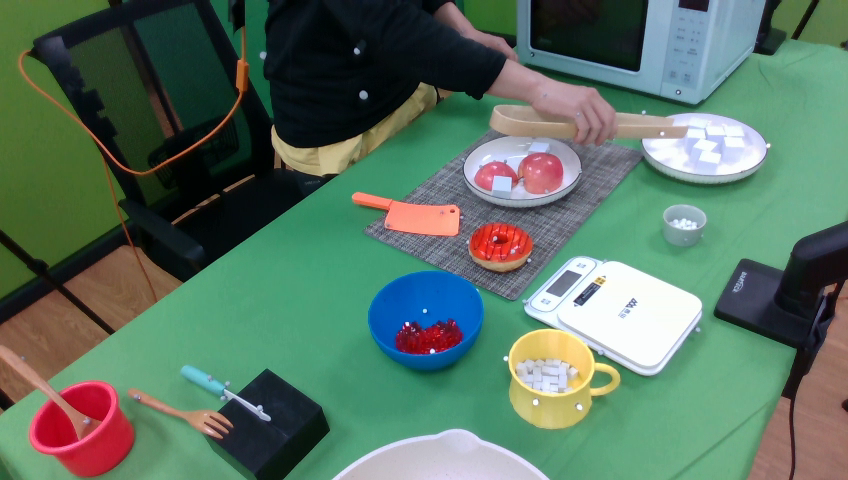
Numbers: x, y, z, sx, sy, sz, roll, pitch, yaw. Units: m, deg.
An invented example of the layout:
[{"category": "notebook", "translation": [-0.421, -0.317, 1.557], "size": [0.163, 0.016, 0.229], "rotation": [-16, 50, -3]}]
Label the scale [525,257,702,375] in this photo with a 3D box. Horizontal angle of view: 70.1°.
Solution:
[{"category": "scale", "translation": [0.254, 0.091, 0.821], "size": [0.199, 0.032, 0.149], "rotation": [28, 51, 35]}]

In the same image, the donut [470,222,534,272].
[{"category": "donut", "translation": [0.118, 0.009, 0.923], "size": [0.099, 0.048, 0.098], "rotation": [-3, 38, 3]}]

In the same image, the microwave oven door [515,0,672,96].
[{"category": "microwave oven door", "translation": [0.344, -0.455, 1.259], "size": [0.353, 0.245, 0.039], "rotation": [26, 51, 33]}]

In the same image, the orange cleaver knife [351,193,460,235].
[{"category": "orange cleaver knife", "translation": [-0.036, -0.044, 1.029], "size": [0.210, 0.012, 0.077], "rotation": [10, 48, 18]}]

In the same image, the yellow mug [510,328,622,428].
[{"category": "yellow mug", "translation": [0.169, 0.164, 0.722], "size": [0.130, 0.064, 0.099], "rotation": [0, 40, 8]}]

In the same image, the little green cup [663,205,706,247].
[{"category": "little green cup", "translation": [0.396, -0.020, 0.926], "size": [0.061, 0.039, 0.061], "rotation": [-4, 40, 4]}]

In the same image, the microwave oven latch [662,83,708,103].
[{"category": "microwave oven latch", "translation": [0.518, -0.296, 1.204], "size": [0.078, 0.029, 0.030], "rotation": [28, 52, 35]}]

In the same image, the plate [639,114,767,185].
[{"category": "plate", "translation": [0.489, -0.157, 1.074], "size": [0.207, 0.039, 0.206], "rotation": [-4, 40, 4]}]

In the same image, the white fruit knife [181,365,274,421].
[{"category": "white fruit knife", "translation": [-0.245, 0.187, 0.747], "size": [0.205, 0.027, 0.016], "rotation": [9, 41, 40]}]

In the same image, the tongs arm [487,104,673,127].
[{"category": "tongs arm", "translation": [0.272, -0.193, 0.994], "size": [0.387, 0.026, 0.050], "rotation": [0, 38, -23]}]

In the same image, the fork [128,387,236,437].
[{"category": "fork", "translation": [-0.305, 0.207, 0.744], "size": [0.206, 0.019, 0.028], "rotation": [3, 41, 36]}]

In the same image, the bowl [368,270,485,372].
[{"category": "bowl", "translation": [0.007, 0.118, 0.791], "size": [0.151, 0.077, 0.150], "rotation": [-5, 40, 4]}]

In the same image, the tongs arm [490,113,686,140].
[{"category": "tongs arm", "translation": [0.280, -0.179, 0.978], "size": [0.390, 0.028, 0.028], "rotation": [-3, 42, -26]}]

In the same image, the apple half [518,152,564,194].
[{"category": "apple half", "translation": [0.204, -0.124, 1.048], "size": [0.075, 0.053, 0.080], "rotation": [-6, 40, -2]}]

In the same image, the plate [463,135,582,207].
[{"category": "plate", "translation": [0.173, -0.119, 1.070], "size": [0.209, 0.038, 0.208], "rotation": [-4, 40, 4]}]

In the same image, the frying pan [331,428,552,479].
[{"category": "frying pan", "translation": [-0.089, 0.306, 0.564], "size": [0.487, 0.103, 0.306], "rotation": [10, 41, 7]}]

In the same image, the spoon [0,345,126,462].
[{"category": "spoon", "translation": [-0.434, 0.192, 0.720], "size": [0.194, 0.021, 0.042], "rotation": [47, 53, -6]}]

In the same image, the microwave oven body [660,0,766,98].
[{"category": "microwave oven body", "translation": [0.472, -0.513, 1.317], "size": [0.438, 0.261, 0.327], "rotation": [26, 51, 34]}]

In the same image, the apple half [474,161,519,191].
[{"category": "apple half", "translation": [0.130, -0.119, 1.068], "size": [0.081, 0.033, 0.081], "rotation": [-3, 36, 3]}]
